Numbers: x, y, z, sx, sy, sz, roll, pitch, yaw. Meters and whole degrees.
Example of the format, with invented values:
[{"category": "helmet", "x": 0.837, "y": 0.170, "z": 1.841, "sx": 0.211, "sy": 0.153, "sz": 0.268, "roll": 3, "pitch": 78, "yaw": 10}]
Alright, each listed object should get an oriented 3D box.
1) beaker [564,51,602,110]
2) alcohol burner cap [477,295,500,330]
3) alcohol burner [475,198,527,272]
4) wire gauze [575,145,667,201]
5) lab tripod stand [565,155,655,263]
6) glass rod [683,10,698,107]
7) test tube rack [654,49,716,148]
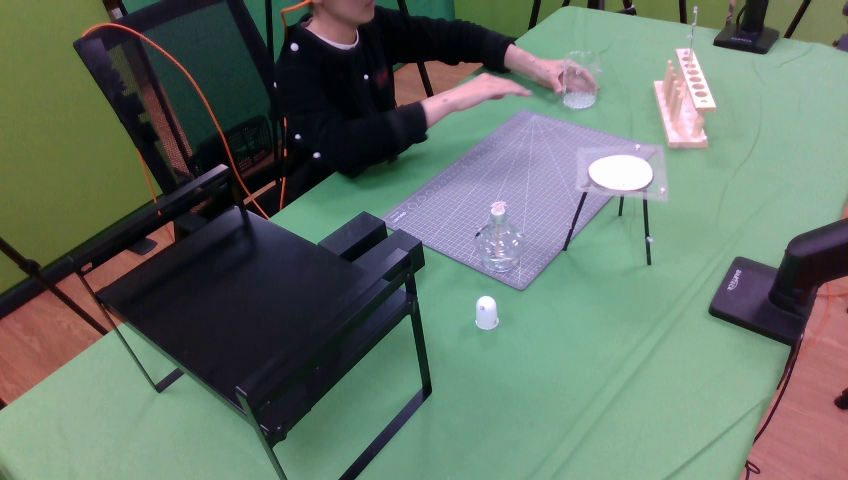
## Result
[{"category": "beaker", "x": 0.326, "y": -0.330, "z": 1.250, "sx": 0.074, "sy": 0.101, "sz": 0.084, "roll": 5, "pitch": 42, "yaw": 14}, {"category": "alcohol burner cap", "x": 0.089, "y": 0.097, "z": 0.833, "sx": 0.034, "sy": 0.048, "sz": 0.033, "roll": -4, "pitch": 42, "yaw": 4}, {"category": "alcohol burner", "x": 0.113, "y": -0.012, "z": 0.897, "sx": 0.078, "sy": 0.119, "sz": 0.077, "roll": -6, "pitch": 40, "yaw": 6}, {"category": "wire gauze", "x": 0.279, "y": -0.100, "z": 0.861, "sx": 0.124, "sy": 0.011, "sz": 0.121, "roll": 5, "pitch": 43, "yaw": 14}, {"category": "lab tripod stand", "x": 0.285, "y": -0.046, "z": 0.901, "sx": 0.148, "sy": 0.132, "sz": 0.147, "roll": -5, "pitch": 42, "yaw": 5}, {"category": "glass rod", "x": 0.501, "y": -0.336, "z": 1.139, "sx": 0.008, "sy": 0.201, "sz": 0.008, "roll": -8, "pitch": 43, "yaw": 8}, {"category": "test tube rack", "x": 0.502, "y": -0.281, "z": 1.176, "sx": 0.066, "sy": 0.085, "sz": 0.241, "roll": 2, "pitch": 42, "yaw": 11}]
